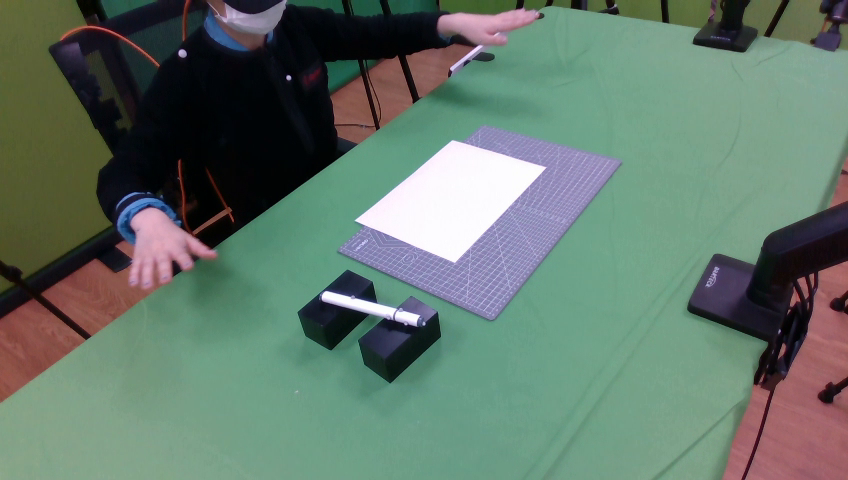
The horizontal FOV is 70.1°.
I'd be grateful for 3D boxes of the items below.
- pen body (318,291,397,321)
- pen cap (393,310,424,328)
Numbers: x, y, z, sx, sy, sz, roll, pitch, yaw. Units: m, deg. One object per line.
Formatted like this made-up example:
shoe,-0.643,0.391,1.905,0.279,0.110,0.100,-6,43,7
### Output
pen body,-0.076,0.089,0.801,0.143,0.017,0.017,12,44,21
pen cap,-0.019,0.102,0.778,0.038,0.017,0.017,12,44,21
